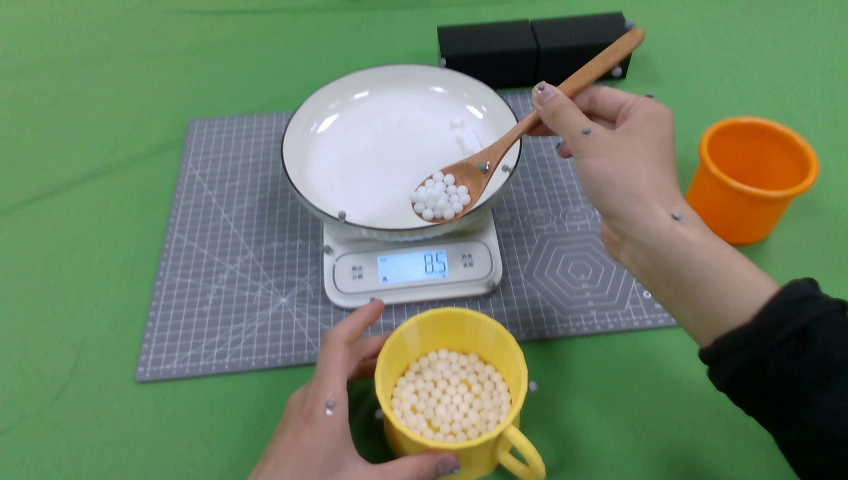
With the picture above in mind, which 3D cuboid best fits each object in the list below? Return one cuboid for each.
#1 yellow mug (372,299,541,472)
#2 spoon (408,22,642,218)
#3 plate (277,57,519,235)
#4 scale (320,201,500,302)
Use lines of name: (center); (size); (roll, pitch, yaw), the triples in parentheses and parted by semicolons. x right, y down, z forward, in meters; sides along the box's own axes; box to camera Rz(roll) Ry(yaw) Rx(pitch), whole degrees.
yellow mug: (0.028, 0.108, 0.412); (0.130, 0.064, 0.100); (38, 64, 25)
spoon: (0.068, -0.081, 0.408); (0.194, 0.022, 0.041); (-40, 62, 9)
plate: (-0.022, -0.083, 0.534); (0.209, 0.038, 0.207); (0, 53, 1)
scale: (-0.018, -0.041, 0.542); (0.149, 0.032, 0.199); (-6, 53, -2)
